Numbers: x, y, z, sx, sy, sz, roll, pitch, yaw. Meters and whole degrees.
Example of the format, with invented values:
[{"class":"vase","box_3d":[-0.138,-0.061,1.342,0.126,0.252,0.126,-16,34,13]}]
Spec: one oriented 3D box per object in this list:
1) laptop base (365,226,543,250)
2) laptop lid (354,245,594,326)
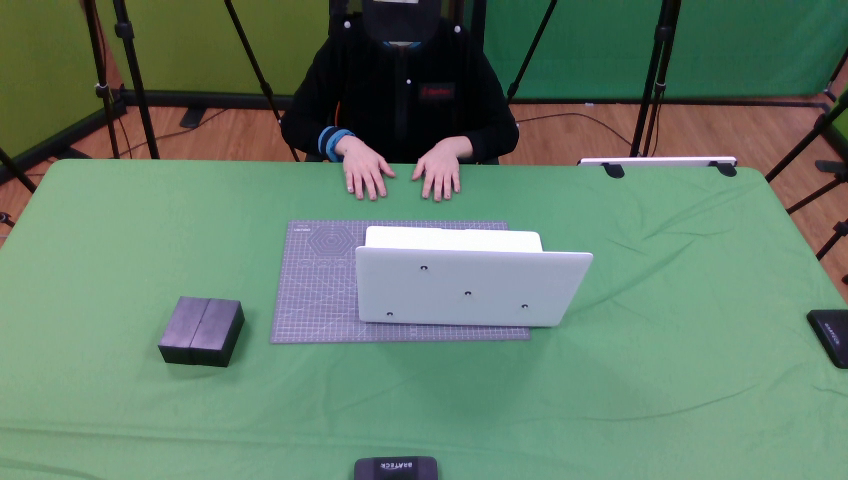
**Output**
[{"class":"laptop base","box_3d":[0.061,0.063,1.144,0.354,0.023,0.234,2,43,-3]},{"class":"laptop lid","box_3d":[0.069,0.080,0.964,0.357,0.243,0.013,2,55,-4]}]
